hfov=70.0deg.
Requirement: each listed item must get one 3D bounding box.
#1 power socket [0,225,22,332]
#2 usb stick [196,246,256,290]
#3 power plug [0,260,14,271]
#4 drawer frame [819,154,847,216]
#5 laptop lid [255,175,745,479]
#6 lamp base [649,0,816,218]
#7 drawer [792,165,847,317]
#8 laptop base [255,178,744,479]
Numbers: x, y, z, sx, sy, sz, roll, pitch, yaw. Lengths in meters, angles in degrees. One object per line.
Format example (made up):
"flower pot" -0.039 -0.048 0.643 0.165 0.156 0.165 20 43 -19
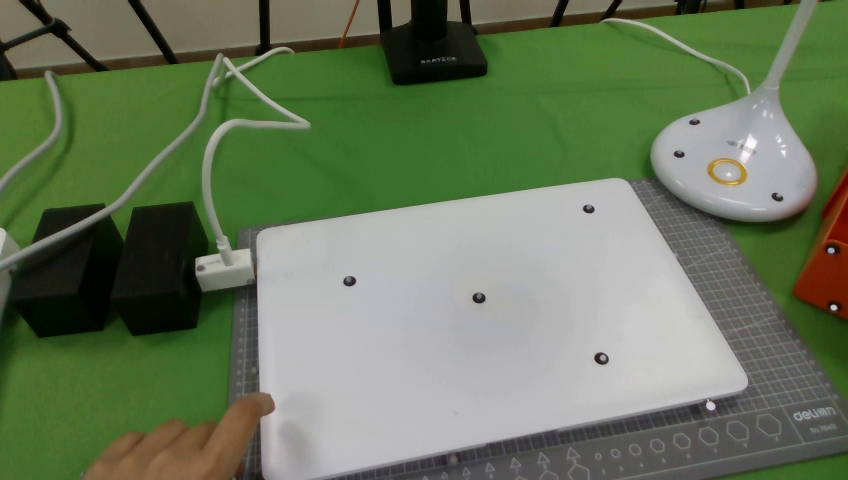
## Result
"power socket" -0.376 0.072 0.473 0.072 0.033 0.224 -9 47 -10
"usb stick" -0.159 0.022 0.511 0.059 0.027 0.021 -8 47 -14
"power plug" -0.349 0.045 0.467 0.072 0.053 0.035 -1 47 -2
"drawer frame" 0.513 -0.063 0.564 0.200 0.083 0.213 29 53 25
"laptop lid" 0.044 0.048 0.489 0.357 0.013 0.239 -8 50 -7
"lamp base" 0.316 -0.141 0.569 0.160 0.182 0.178 21 47 19
"drawer" 0.447 0.004 0.506 0.193 0.074 0.211 28 53 25
"laptop base" 0.044 0.055 0.500 0.355 0.023 0.233 -9 51 -8
